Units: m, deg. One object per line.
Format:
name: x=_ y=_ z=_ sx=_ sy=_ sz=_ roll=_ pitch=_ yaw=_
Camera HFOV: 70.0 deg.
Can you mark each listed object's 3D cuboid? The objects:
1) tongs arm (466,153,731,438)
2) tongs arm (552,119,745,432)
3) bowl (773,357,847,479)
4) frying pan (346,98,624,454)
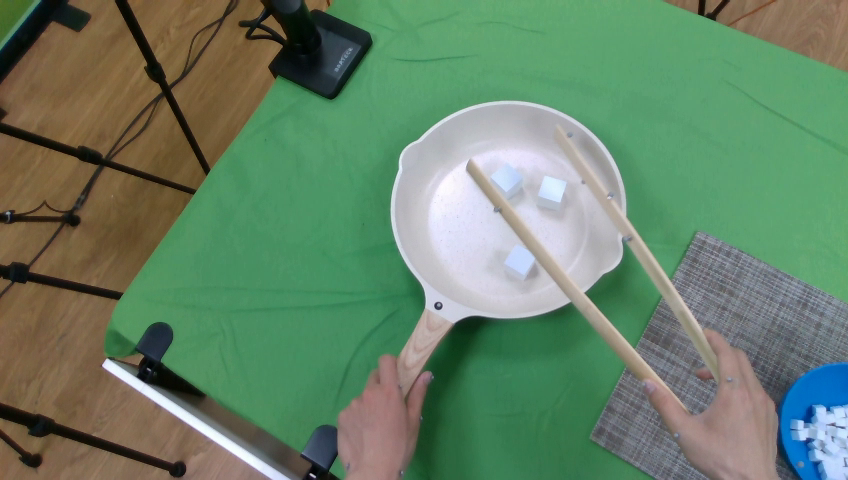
tongs arm: x=0.162 y=0.046 z=0.633 sx=0.028 sy=0.028 sz=0.384 roll=-28 pitch=67 yaw=-24
tongs arm: x=0.221 y=0.021 z=0.652 sx=0.051 sy=0.027 sz=0.381 roll=-20 pitch=65 yaw=-17
bowl: x=0.449 y=0.208 z=0.659 sx=0.151 sy=0.077 sz=0.150 roll=-2 pitch=72 yaw=6
frying pan: x=0.048 y=0.040 z=0.746 sx=0.305 sy=0.103 sz=0.486 roll=29 pitch=69 yaw=15
